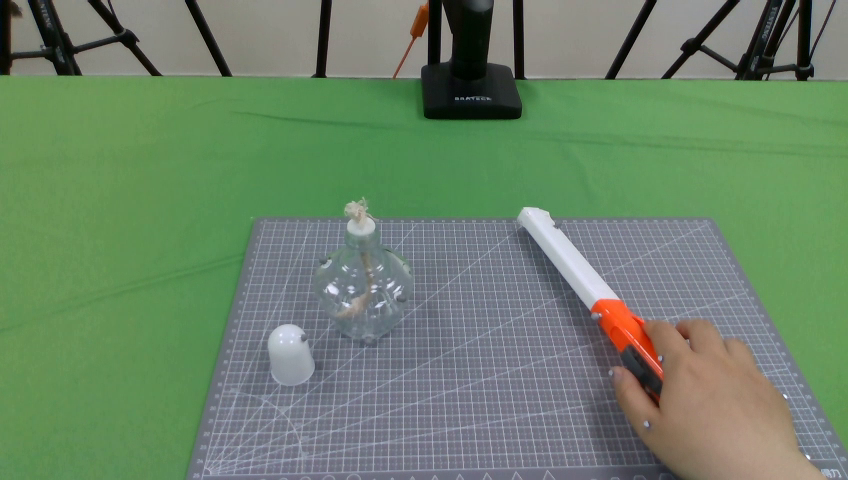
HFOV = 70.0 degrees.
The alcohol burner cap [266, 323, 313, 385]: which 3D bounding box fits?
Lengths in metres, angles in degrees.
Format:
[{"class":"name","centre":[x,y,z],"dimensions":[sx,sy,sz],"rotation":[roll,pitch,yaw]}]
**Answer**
[{"class":"alcohol burner cap","centre":[-0.100,0.080,0.445],"dimensions":[0.034,0.048,0.033],"rotation":[2,43,-1]}]

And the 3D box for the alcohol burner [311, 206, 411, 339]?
[{"class":"alcohol burner","centre":[-0.048,0.020,0.460],"dimensions":[0.078,0.120,0.077],"rotation":[3,44,-2]}]

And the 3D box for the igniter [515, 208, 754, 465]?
[{"class":"igniter","centre":[0.153,0.061,0.488],"dimensions":[0.057,0.025,0.273],"rotation":[6,35,-33]}]
